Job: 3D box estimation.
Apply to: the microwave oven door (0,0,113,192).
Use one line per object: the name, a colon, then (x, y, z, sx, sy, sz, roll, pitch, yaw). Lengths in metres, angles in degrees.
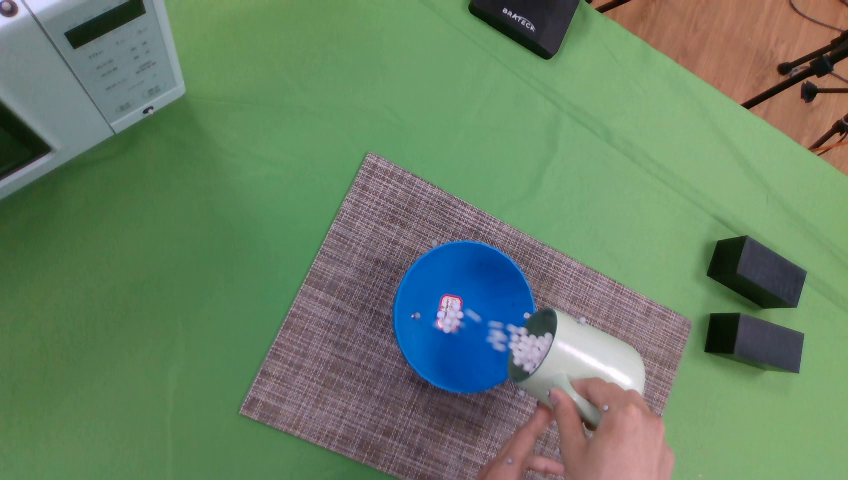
microwave oven door: (-0.406, -0.032, 0.408, 0.355, 0.243, 0.039, -37, 94, -17)

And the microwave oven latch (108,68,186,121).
microwave oven latch: (-0.265, -0.144, 0.570, 0.079, 0.029, 0.030, -35, 95, -17)

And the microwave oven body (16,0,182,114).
microwave oven body: (-0.460, -0.175, 0.413, 0.441, 0.259, 0.326, -37, 95, -16)

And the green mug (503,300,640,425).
green mug: (0.141, 0.121, 0.561, 0.105, 0.124, 0.092, 31, 105, -13)

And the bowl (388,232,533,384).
bowl: (0.028, 0.070, 0.628, 0.152, 0.076, 0.151, 2, 84, -17)
